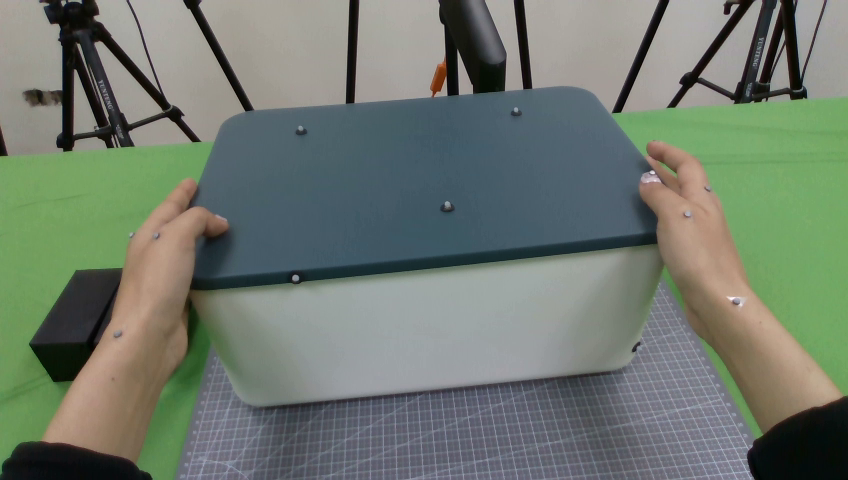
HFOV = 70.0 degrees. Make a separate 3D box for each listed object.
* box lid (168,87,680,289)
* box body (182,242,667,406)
[{"bbox_3d":[-0.007,-0.061,0.514,0.372,0.015,0.260,-5,37,-3],"label":"box lid"},{"bbox_3d":[-0.002,-0.002,0.560,0.364,0.162,0.251,-5,38,-3],"label":"box body"}]
